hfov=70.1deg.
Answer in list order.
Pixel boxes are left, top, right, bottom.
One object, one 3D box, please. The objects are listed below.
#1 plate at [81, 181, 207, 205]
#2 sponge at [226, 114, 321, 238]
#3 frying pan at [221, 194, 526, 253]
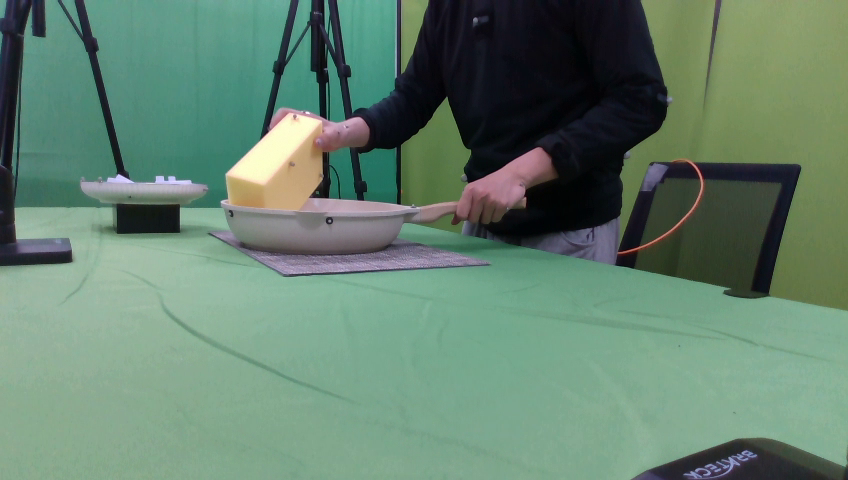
[{"bbox_3d":[-0.504,-0.086,1.100,0.208,0.039,0.207,1,6,0],"label":"plate"},{"bbox_3d":[-0.233,-0.101,0.969,0.061,0.118,0.207,14,40,8],"label":"sponge"},{"bbox_3d":[-0.070,-0.043,0.983,0.489,0.102,0.306,-7,9,-5],"label":"frying pan"}]
